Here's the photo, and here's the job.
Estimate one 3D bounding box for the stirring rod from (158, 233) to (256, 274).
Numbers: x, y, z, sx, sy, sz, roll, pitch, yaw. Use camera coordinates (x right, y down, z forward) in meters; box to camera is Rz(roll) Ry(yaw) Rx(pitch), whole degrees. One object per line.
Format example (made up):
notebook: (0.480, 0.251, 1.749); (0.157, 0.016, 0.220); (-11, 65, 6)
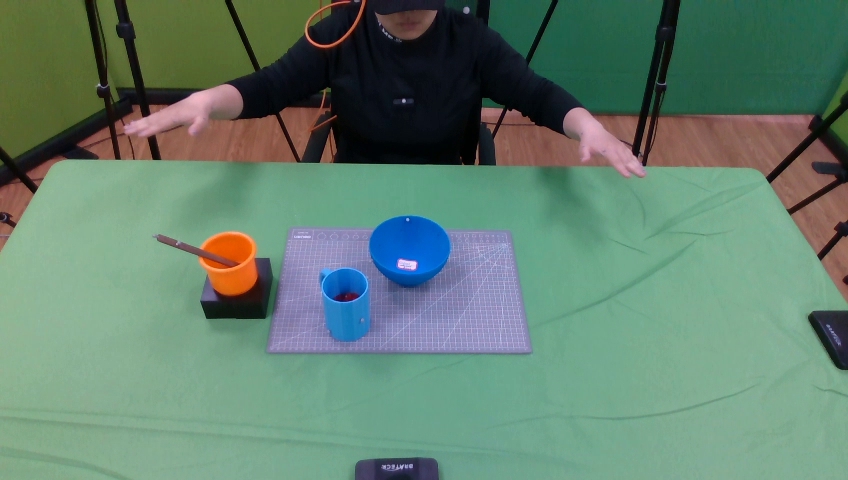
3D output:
stirring rod: (-0.354, 0.024, 0.999); (0.177, 0.006, 0.014); (27, 29, -40)

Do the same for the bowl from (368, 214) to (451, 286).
bowl: (-0.028, 0.031, 1.122); (0.151, 0.077, 0.150); (2, 46, -2)

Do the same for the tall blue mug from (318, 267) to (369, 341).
tall blue mug: (-0.145, 0.104, 1.022); (0.107, 0.108, 0.077); (19, 49, 14)
